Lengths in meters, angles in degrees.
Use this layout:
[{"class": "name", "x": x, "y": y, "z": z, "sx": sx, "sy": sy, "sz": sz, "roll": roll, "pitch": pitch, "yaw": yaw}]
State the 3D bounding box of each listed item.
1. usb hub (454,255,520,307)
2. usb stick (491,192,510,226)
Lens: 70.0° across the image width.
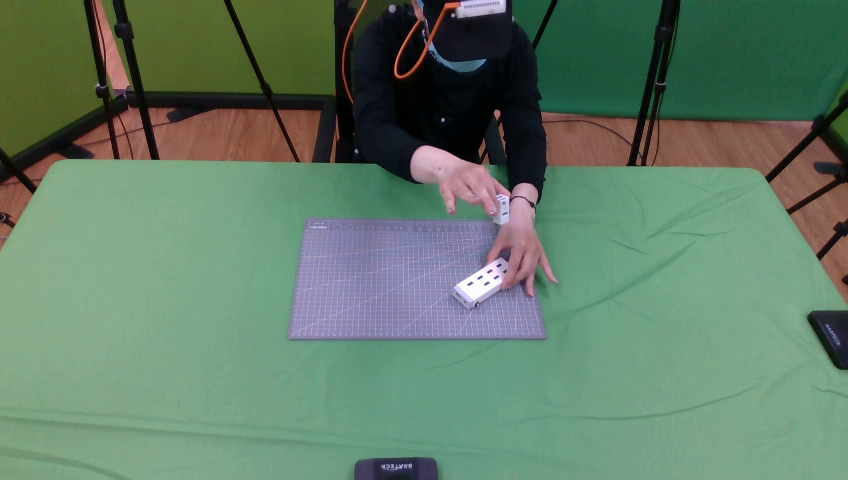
[{"class": "usb hub", "x": 0.117, "y": 0.075, "z": 1.119, "sx": 0.125, "sy": 0.025, "sz": 0.049, "roll": -29, "pitch": 62, "yaw": -29}, {"class": "usb stick", "x": 0.125, "y": -0.047, "z": 0.993, "sx": 0.021, "sy": 0.059, "sz": 0.027, "roll": -24, "pitch": 39, "yaw": -34}]
